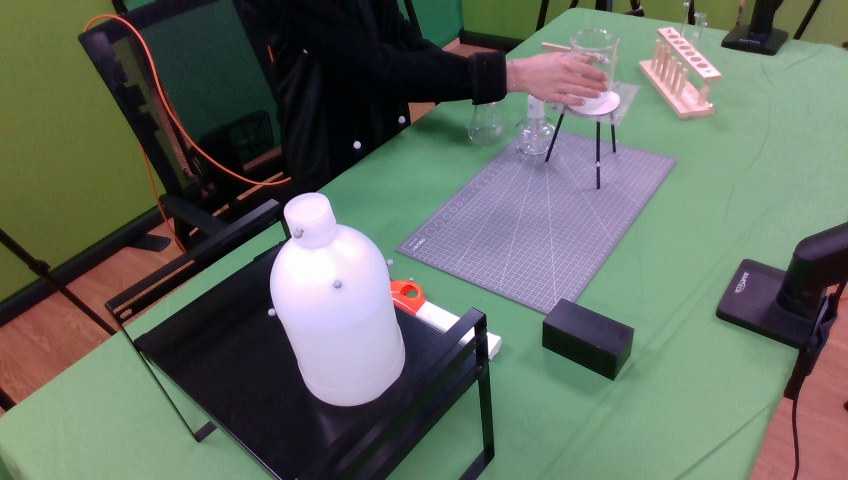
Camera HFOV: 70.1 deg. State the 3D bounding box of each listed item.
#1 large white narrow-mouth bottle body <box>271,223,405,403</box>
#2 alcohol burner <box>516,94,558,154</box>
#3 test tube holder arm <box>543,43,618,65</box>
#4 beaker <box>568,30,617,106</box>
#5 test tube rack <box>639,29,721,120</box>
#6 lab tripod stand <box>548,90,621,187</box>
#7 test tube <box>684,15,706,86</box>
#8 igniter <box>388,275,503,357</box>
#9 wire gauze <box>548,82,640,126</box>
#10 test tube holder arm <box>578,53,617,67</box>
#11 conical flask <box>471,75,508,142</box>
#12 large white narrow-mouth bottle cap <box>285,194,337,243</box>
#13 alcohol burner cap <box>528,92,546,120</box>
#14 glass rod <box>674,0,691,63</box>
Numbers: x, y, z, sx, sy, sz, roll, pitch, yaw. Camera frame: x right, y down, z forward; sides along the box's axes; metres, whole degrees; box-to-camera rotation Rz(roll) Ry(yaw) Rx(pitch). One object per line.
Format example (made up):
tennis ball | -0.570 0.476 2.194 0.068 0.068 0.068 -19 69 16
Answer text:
large white narrow-mouth bottle body | -0.077 0.048 0.525 0.102 0.195 0.101 -5 40 5
alcohol burner | 0.212 -0.222 1.134 0.078 0.119 0.077 -5 43 5
test tube holder arm | 0.345 -0.413 1.341 0.177 0.015 0.013 25 50 31
beaker | 0.274 -0.279 0.984 0.084 0.101 0.073 -34 49 -26
test tube rack | 0.527 -0.351 1.262 0.067 0.085 0.241 -8 40 1
lab tripod stand | 0.289 -0.184 1.062 0.148 0.132 0.147 -6 41 6
test tube | 0.541 -0.378 1.215 0.017 0.151 0.017 -2 44 3
igniter | -0.008 0.093 0.870 0.274 0.025 0.057 24 60 33
wire gauze | 0.286 -0.235 1.019 0.124 0.011 0.121 17 46 29
test tube holder arm | 0.376 -0.393 1.314 0.087 0.015 0.010 26 51 32
conical flask | 0.126 -0.259 1.190 0.075 0.122 0.075 -5 41 4
large white narrow-mouth bottle cap | -0.087 -0.017 0.467 0.038 0.024 0.037 -4 40 4
alcohol burner cap | 0.206 -0.249 1.112 0.034 0.048 0.033 -5 36 4
glass rod | 0.537 -0.437 1.257 0.008 0.200 0.008 0 39 1
